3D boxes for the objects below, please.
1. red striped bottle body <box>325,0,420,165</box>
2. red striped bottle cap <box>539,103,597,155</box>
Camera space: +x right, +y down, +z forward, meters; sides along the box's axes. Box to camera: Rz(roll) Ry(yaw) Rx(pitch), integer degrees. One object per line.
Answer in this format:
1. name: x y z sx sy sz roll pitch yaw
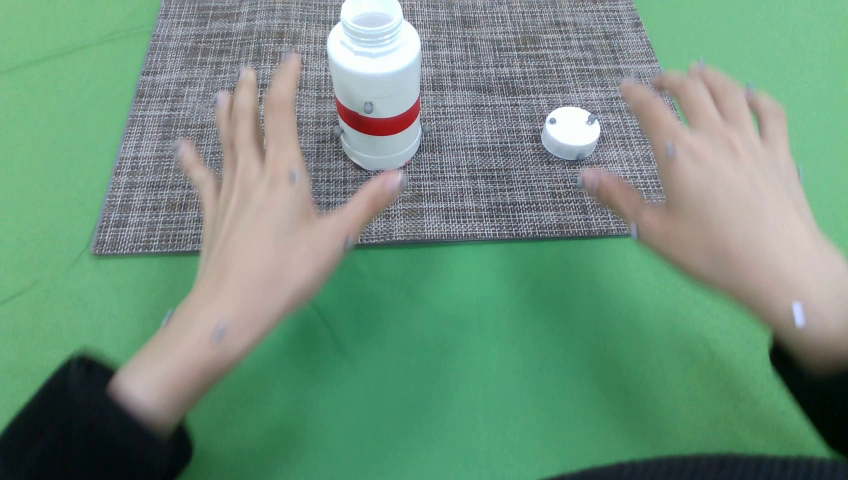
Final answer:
1. red striped bottle body: -0.035 -0.114 0.431 0.063 0.120 0.062 0 57 0
2. red striped bottle cap: 0.115 -0.089 0.482 0.044 0.018 0.044 1 54 -1
